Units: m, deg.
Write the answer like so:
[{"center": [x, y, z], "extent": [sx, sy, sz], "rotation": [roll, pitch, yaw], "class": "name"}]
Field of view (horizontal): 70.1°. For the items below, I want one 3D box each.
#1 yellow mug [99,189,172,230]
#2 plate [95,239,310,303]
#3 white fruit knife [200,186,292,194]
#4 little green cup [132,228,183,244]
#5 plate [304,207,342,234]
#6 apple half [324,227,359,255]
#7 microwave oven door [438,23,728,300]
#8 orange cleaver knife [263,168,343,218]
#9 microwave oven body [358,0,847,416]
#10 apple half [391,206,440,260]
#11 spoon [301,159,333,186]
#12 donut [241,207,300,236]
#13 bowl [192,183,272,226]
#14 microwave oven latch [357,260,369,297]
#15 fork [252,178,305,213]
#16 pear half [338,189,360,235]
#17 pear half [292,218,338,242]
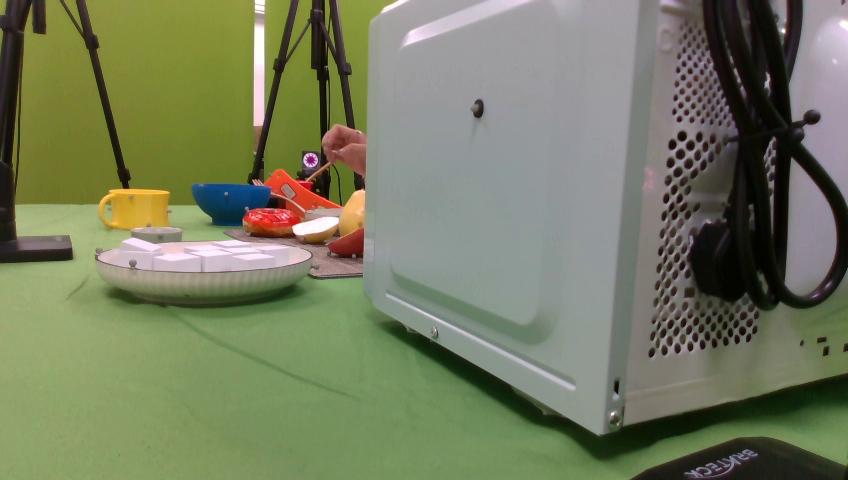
[{"center": [-0.519, -0.055, 1.080], "extent": [0.099, 0.064, 0.131], "rotation": [7, 10, 26], "class": "yellow mug"}, {"center": [-0.224, 0.031, 0.629], "extent": [0.208, 0.039, 0.207], "rotation": [2, 8, 0], "class": "plate"}, {"center": [-0.399, -0.111, 1.368], "extent": [0.208, 0.016, 0.027], "rotation": [-4, -19, -30], "class": "white fruit knife"}, {"center": [-0.342, 0.006, 0.779], "extent": [0.061, 0.038, 0.061], "rotation": [2, 8, 0], "class": "little green cup"}, {"center": [-0.123, -0.037, 1.149], "extent": [0.209, 0.038, 0.209], "rotation": [2, 7, 0], "class": "plate"}, {"center": [-0.095, 0.002, 0.848], "extent": [0.081, 0.033, 0.081], "rotation": [-21, -1, 0], "class": "apple half"}, {"center": [0.181, -0.072, 0.621], "extent": [0.358, 0.243, 0.039], "rotation": [-2, 8, -29], "class": "microwave oven door"}, {"center": [-0.262, -0.088, 1.352], "extent": [0.211, 0.077, 0.012], "rotation": [28, 13, -1], "class": "orange cleaver knife"}, {"center": [0.211, -0.047, 0.474], "extent": [0.444, 0.260, 0.324], "rotation": [-1, 7, -28], "class": "microwave oven body"}, {"center": [-0.006, -0.009, 0.837], "extent": [0.053, 0.074, 0.081], "rotation": [10, 5, 23], "class": "apple half"}, {"center": [-0.316, -0.159, 1.639], "extent": [0.194, 0.022, 0.041], "rotation": [-49, 33, -20], "class": "spoon"}, {"center": [-0.263, -0.031, 1.039], "extent": [0.099, 0.048, 0.099], "rotation": [5, 10, 0], "class": "donut"}, {"center": [-0.381, -0.071, 1.202], "extent": [0.151, 0.077, 0.151], "rotation": [3, 7, 0], "class": "bowl"}, {"center": [-0.019, 0.033, 0.531], "extent": [0.079, 0.029, 0.030], "rotation": [-1, 7, -27], "class": "microwave oven latch"}, {"center": [-0.295, -0.084, 1.292], "extent": [0.206, 0.018, 0.028], "rotation": [29, 10, 25], "class": "fork"}, {"center": [-0.088, -0.042, 0.922], "extent": [0.055, 0.110, 0.077], "rotation": [7, 12, 36], "class": "pear half"}, {"center": [-0.175, -0.013, 0.977], "extent": [0.087, 0.031, 0.071], "rotation": [-2, 14, 36], "class": "pear half"}]
